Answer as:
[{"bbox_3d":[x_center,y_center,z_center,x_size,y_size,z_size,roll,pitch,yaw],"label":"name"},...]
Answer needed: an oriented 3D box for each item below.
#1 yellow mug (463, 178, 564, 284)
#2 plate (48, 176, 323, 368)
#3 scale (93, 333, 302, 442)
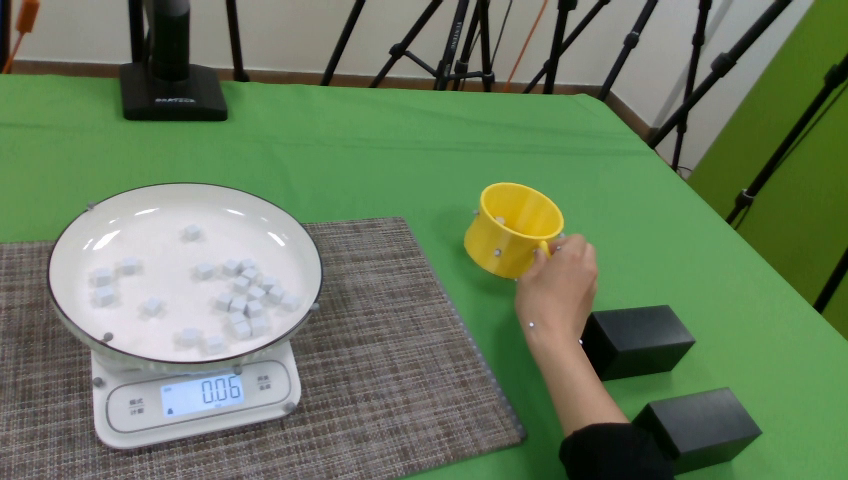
[{"bbox_3d":[0.109,-0.006,0.692,0.100,0.064,0.129,-6,47,-28],"label":"yellow mug"},{"bbox_3d":[-0.191,0.024,0.507,0.210,0.038,0.207,12,40,-10],"label":"plate"},{"bbox_3d":[-0.195,0.064,0.511,0.149,0.032,0.198,-5,46,-26],"label":"scale"}]
